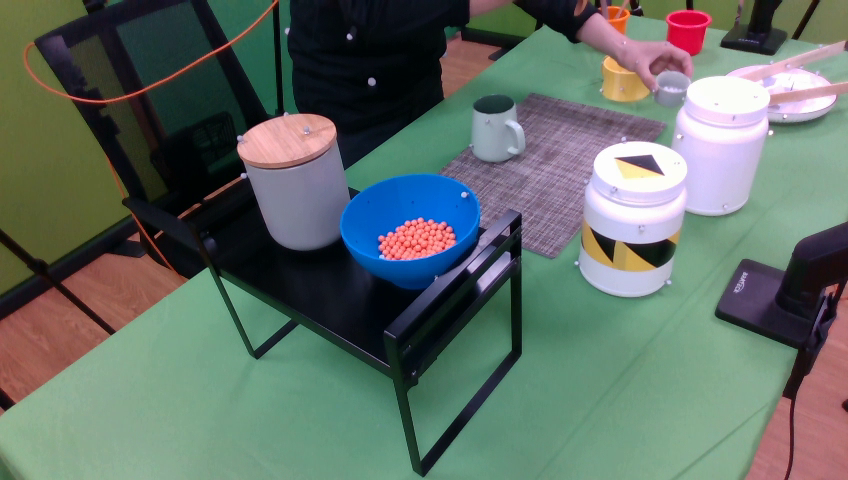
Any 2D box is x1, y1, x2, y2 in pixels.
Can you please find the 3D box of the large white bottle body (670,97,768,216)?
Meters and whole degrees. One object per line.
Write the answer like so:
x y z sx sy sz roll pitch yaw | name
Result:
0.458 -0.146 0.952 0.130 0.185 0.130 -4 40 4 | large white bottle body

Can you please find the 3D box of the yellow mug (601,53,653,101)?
0.423 -0.354 1.292 0.100 0.064 0.129 -23 41 -17 | yellow mug

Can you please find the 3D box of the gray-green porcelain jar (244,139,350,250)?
-0.144 -0.060 0.714 0.106 0.127 0.105 -4 41 4 | gray-green porcelain jar

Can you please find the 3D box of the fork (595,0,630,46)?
0.480 -0.556 1.452 0.028 0.019 0.207 40 103 37 | fork

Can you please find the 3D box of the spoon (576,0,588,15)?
0.265 -0.465 0.988 0.021 0.194 0.041 0 45 9 | spoon

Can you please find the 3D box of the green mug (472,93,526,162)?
0.144 -0.202 1.122 0.093 0.105 0.124 -29 45 -23 | green mug

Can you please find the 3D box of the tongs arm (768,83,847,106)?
0.738 -0.281 1.134 0.388 0.028 0.028 -9 47 -5 | tongs arm

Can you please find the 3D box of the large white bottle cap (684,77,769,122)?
0.448 -0.209 0.898 0.115 0.018 0.114 -4 40 4 | large white bottle cap

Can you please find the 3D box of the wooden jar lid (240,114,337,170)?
-0.149 -0.106 0.673 0.108 0.021 0.108 -6 39 5 | wooden jar lid

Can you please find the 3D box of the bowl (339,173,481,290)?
-0.011 0.001 0.660 0.151 0.077 0.150 -5 41 5 | bowl

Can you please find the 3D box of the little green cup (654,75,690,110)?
0.455 -0.270 1.114 0.061 0.039 0.061 -3 51 5 | little green cup

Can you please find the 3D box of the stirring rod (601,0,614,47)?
0.439 -0.552 1.463 0.014 0.006 0.175 -7 83 2 | stirring rod

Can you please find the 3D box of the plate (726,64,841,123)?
0.695 -0.282 1.189 0.207 0.039 0.206 -4 40 4 | plate

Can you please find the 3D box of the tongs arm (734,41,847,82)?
0.712 -0.332 1.194 0.386 0.026 0.050 -18 45 -16 | tongs arm

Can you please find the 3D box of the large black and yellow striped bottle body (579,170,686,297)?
0.287 -0.027 0.841 0.131 0.185 0.130 -4 40 4 | large black and yellow striped bottle body

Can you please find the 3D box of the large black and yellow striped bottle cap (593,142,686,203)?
0.280 -0.090 0.786 0.115 0.019 0.114 -5 41 5 | large black and yellow striped bottle cap
